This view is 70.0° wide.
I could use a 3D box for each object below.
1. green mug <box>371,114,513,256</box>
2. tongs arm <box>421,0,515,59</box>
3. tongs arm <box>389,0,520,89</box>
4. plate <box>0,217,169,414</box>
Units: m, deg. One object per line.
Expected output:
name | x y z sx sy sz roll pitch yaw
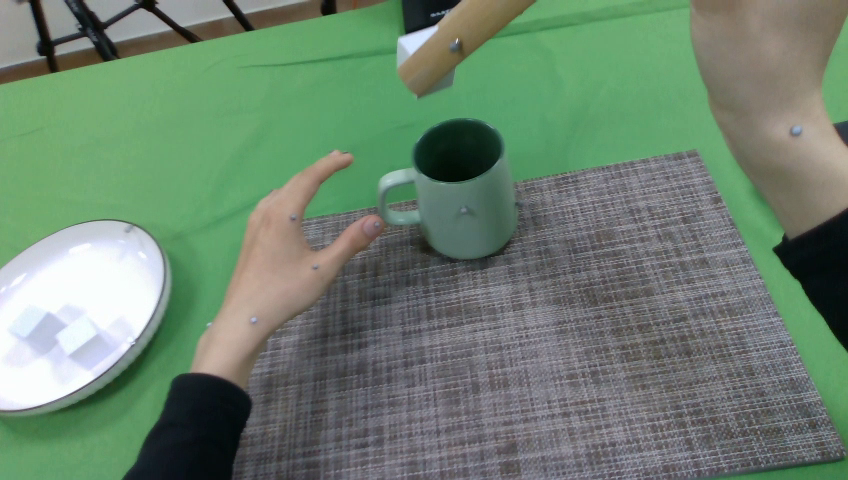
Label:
green mug | 0.015 -0.043 0.540 0.125 0.106 0.091 -11 53 4
tongs arm | 0.101 -0.177 0.286 0.384 0.026 0.050 -24 21 53
tongs arm | 0.085 -0.158 0.271 0.028 0.028 0.386 -45 13 -33
plate | -0.340 0.070 0.577 0.209 0.038 0.207 -5 53 7
